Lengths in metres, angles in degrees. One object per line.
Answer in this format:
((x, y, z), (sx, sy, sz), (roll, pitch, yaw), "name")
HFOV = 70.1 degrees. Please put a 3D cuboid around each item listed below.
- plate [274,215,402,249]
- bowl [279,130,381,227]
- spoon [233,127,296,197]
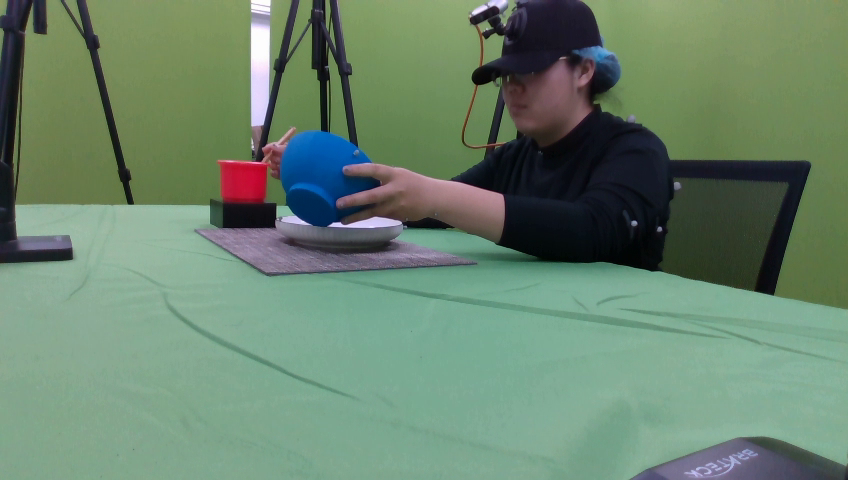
((-0.140, -0.015, 0.993), (0.208, 0.039, 0.207), (3, 8, 0), "plate")
((-0.143, -0.071, 0.848), (0.151, 0.152, 0.077), (5, 49, 22), "bowl")
((-0.307, -0.155, 1.181), (0.041, 0.194, 0.022), (13, -28, 37), "spoon")
